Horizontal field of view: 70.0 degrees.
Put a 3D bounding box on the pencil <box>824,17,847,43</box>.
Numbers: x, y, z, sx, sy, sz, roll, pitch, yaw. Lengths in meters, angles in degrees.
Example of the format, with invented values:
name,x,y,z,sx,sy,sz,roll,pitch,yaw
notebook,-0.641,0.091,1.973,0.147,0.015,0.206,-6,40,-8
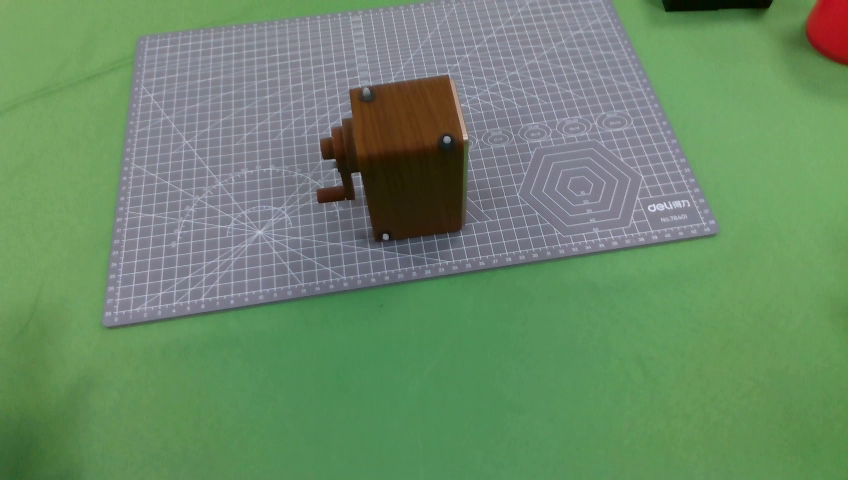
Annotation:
name,x,y,z,sx,sy,sz,roll,pitch,yaw
pencil,0.419,-0.240,0.501,0.194,0.012,0.012,-46,61,22

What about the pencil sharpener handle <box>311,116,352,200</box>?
name,x,y,z,sx,sy,sz,roll,pitch,yaw
pencil sharpener handle,-0.065,-0.051,0.406,0.031,0.068,0.035,-9,54,-3

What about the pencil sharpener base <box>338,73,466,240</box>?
name,x,y,z,sx,sy,sz,roll,pitch,yaw
pencil sharpener base,-0.015,-0.054,0.421,0.077,0.108,0.061,-9,60,-3
